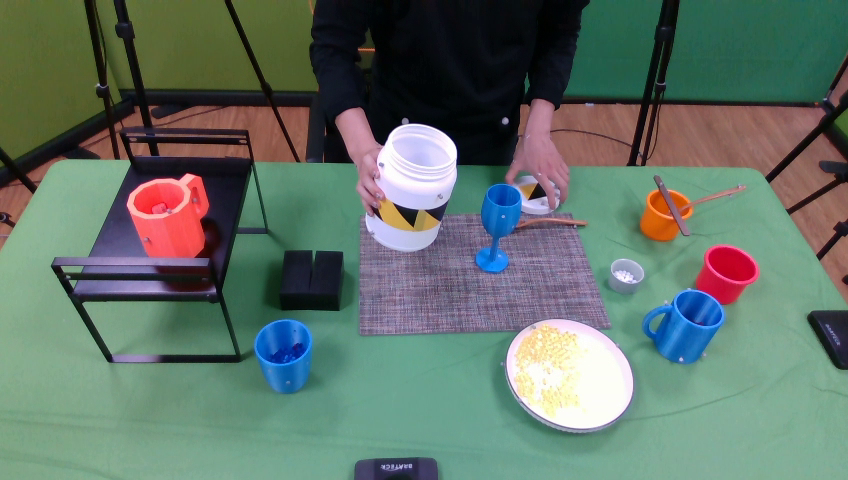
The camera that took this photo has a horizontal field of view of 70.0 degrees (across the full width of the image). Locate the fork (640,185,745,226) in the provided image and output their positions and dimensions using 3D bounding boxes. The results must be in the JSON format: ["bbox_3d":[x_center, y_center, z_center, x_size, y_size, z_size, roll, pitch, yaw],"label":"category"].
[{"bbox_3d":[0.534,-0.069,1.215,0.207,0.019,0.028,-26,28,33],"label":"fork"}]

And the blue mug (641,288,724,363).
[{"bbox_3d":[0.432,0.144,1.033,0.116,0.106,0.082,8,46,4],"label":"blue mug"}]

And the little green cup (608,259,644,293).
[{"bbox_3d":[0.379,0.070,1.147,0.061,0.039,0.061,3,45,-2],"label":"little green cup"}]

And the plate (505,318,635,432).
[{"bbox_3d":[0.235,0.221,0.991,0.209,0.038,0.208,2,45,-2],"label":"plate"}]

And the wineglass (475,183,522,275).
[{"bbox_3d":[0.135,-0.020,1.115,0.074,0.173,0.073,2,46,-2],"label":"wineglass"}]

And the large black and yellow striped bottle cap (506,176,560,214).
[{"bbox_3d":[0.237,-0.099,1.312,0.115,0.019,0.114,1,43,-1],"label":"large black and yellow striped bottle cap"}]

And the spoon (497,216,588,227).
[{"bbox_3d":[0.245,-0.039,1.247,0.194,0.022,0.041,-1,26,-6],"label":"spoon"}]

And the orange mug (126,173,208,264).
[{"bbox_3d":[-0.371,-0.040,0.902,0.083,0.101,0.126,18,52,14],"label":"orange mug"}]

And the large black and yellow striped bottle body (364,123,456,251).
[{"bbox_3d":[-0.022,-0.086,0.990,0.131,0.184,0.130,9,46,-9],"label":"large black and yellow striped bottle body"}]

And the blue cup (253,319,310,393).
[{"bbox_3d":[-0.217,0.187,0.943,0.093,0.101,0.092,4,45,-3],"label":"blue cup"}]

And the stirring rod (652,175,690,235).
[{"bbox_3d":[0.492,-0.073,1.211,0.014,0.006,0.175,-1,46,-7],"label":"stirring rod"}]
